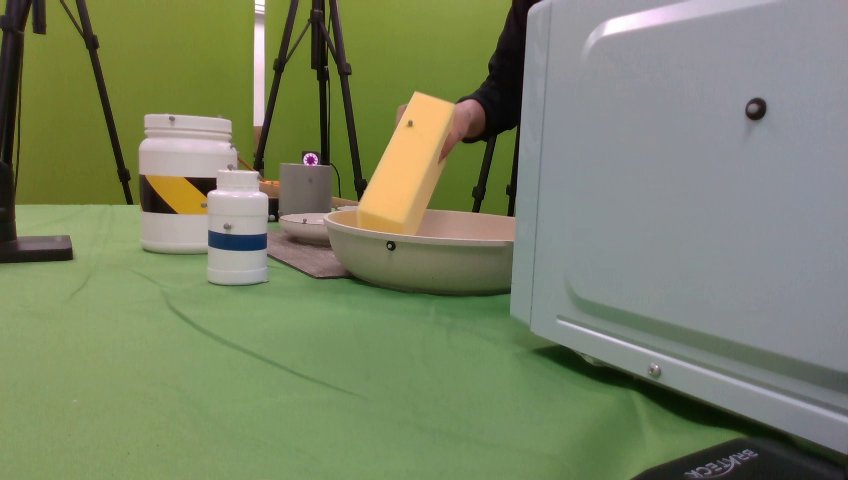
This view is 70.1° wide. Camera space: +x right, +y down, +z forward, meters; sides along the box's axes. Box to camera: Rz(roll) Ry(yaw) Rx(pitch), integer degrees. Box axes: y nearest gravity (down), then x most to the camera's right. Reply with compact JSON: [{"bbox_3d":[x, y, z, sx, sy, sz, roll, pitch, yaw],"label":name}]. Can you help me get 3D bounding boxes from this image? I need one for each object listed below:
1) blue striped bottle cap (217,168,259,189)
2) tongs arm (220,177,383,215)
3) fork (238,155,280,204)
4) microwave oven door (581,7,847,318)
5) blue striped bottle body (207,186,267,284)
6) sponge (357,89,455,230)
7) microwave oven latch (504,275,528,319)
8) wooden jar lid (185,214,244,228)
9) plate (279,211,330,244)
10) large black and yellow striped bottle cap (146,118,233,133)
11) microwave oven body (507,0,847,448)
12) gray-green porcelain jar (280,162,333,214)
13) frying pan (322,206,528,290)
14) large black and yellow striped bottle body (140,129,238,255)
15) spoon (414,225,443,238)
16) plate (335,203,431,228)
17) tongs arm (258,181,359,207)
[{"bbox_3d":[-0.202,-0.067,0.656,0.044,0.020,0.044,0,10,0],"label":"blue striped bottle cap"},{"bbox_3d":[-0.285,-0.103,1.445,0.389,0.027,0.028,9,-4,-23],"label":"tongs arm"},{"bbox_3d":[-0.396,-0.143,1.486,0.028,0.018,0.208,20,-26,45],"label":"fork"},{"bbox_3d":[0.295,-0.067,0.569,0.358,0.243,0.039,-3,8,-31],"label":"microwave oven door"},{"bbox_3d":[-0.204,-0.016,0.663,0.063,0.120,0.063,2,7,0],"label":"blue striped bottle body"},{"bbox_3d":[-0.022,-0.085,0.806,0.061,0.207,0.118,18,-31,7],"label":"sponge"},{"bbox_3d":[0.100,0.042,0.471,0.079,0.029,0.030,-1,7,-28],"label":"microwave oven latch"},{"bbox_3d":[-0.404,-0.037,1.169,0.108,0.020,0.108,3,7,0],"label":"wooden jar lid"},{"bbox_3d":[-0.139,-0.022,1.021,0.209,0.038,0.209,3,8,0],"label":"plate"},{"bbox_3d":[-0.333,-0.163,0.861,0.115,0.019,0.115,1,9,0],"label":"large black and yellow striped bottle cap"},{"bbox_3d":[0.331,-0.042,0.425,0.444,0.260,0.324,-2,8,-31],"label":"microwave oven body"},{"bbox_3d":[-0.238,-0.092,1.221,0.106,0.126,0.106,2,7,0],"label":"gray-green porcelain jar"},{"bbox_3d":[0.109,-0.018,0.800,0.490,0.102,0.305,-12,16,-30],"label":"frying pan"},{"bbox_3d":[-0.336,-0.078,0.871,0.131,0.184,0.130,2,8,0],"label":"large black and yellow striped bottle body"},{"bbox_3d":[0.016,-0.020,1.113,0.041,0.021,0.194,-14,3,12],"label":"spoon"},{"bbox_3d":[-0.089,-0.053,1.309,0.208,0.039,0.207,2,8,0],"label":"plate"},{"bbox_3d":[-0.241,-0.095,1.373,0.387,0.026,0.050,9,-1,-37],"label":"tongs arm"}]
